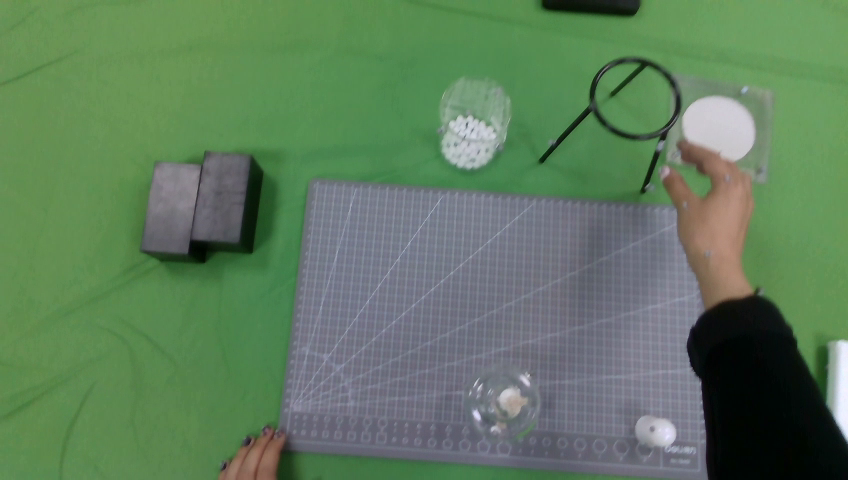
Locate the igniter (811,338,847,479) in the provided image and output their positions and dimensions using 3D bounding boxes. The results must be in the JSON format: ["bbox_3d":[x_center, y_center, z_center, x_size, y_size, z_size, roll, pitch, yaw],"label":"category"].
[{"bbox_3d":[0.423,0.240,0.624,0.057,0.025,0.275,14,77,-9],"label":"igniter"}]

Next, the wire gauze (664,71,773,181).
[{"bbox_3d":[0.348,-0.139,0.719,0.125,0.011,0.121,11,77,3],"label":"wire gauze"}]

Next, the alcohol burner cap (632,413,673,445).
[{"bbox_3d":[0.236,0.196,0.621,0.034,0.048,0.033,0,76,0],"label":"alcohol burner cap"}]

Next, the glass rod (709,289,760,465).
[{"bbox_3d":[0.336,0.145,0.655,0.008,0.008,0.199,21,78,4],"label":"glass rod"}]

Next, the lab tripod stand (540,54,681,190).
[{"bbox_3d":[0.205,-0.130,0.650,0.148,0.132,0.147,0,75,1],"label":"lab tripod stand"}]

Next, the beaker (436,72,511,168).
[{"bbox_3d":[0.053,-0.124,0.664,0.074,0.100,0.083,-39,81,-9],"label":"beaker"}]

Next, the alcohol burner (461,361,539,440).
[{"bbox_3d":[0.077,0.156,0.591,0.078,0.119,0.077,0,75,-1],"label":"alcohol burner"}]
